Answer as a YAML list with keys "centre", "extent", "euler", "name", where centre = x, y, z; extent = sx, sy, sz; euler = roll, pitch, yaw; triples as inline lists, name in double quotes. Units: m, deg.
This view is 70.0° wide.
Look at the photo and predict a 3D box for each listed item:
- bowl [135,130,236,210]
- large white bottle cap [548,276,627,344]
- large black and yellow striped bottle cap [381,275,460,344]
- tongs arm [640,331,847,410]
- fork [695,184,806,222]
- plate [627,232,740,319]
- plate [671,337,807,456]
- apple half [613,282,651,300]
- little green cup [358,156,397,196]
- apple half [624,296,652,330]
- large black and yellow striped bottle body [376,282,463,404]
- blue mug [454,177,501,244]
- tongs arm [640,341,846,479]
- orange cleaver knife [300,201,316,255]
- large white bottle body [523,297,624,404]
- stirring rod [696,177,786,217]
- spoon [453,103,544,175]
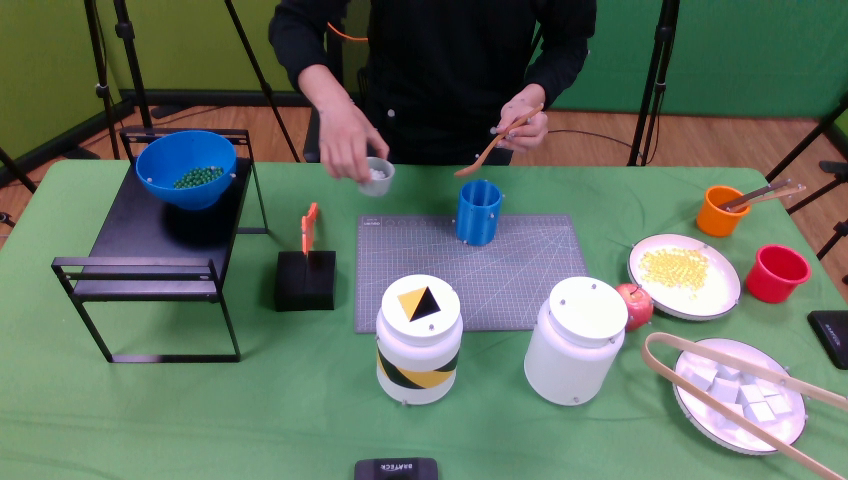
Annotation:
- centre: [-0.375, -0.102, 0.977]
  extent: [0.151, 0.077, 0.150]
  euler: [2, 46, -2]
  name: "bowl"
- centre: [0.240, 0.100, 0.890]
  extent: [0.115, 0.018, 0.114]
  euler: [3, 47, -3]
  name: "large white bottle cap"
- centre: [-0.005, 0.098, 0.875]
  extent: [0.115, 0.019, 0.114]
  euler: [2, 45, -2]
  name: "large black and yellow striped bottle cap"
- centre: [0.543, 0.226, 0.969]
  extent: [0.384, 0.026, 0.050]
  euler: [22, 53, 13]
  name: "tongs arm"
- centre: [0.658, -0.074, 1.230]
  extent: [0.207, 0.019, 0.028]
  euler: [-24, 34, 36]
  name: "fork"
- centre: [0.489, 0.070, 1.157]
  extent: [0.209, 0.038, 0.208]
  euler: [3, 46, -3]
  name: "plate"
- centre: [0.504, 0.254, 0.984]
  extent: [0.208, 0.039, 0.206]
  euler: [2, 46, -2]
  name: "plate"
- centre: [0.356, 0.109, 1.086]
  extent: [0.081, 0.075, 0.053]
  euler: [-13, 44, -12]
  name: "apple half"
- centre: [-0.078, -0.102, 0.979]
  extent: [0.061, 0.039, 0.061]
  euler: [10, 44, -10]
  name: "little green cup"
- centre: [0.368, 0.135, 1.060]
  extent: [0.081, 0.081, 0.032]
  euler: [-11, 43, -15]
  name: "apple half"
- centre: [-0.010, 0.155, 0.937]
  extent: [0.131, 0.185, 0.130]
  euler: [2, 47, -2]
  name: "large black and yellow striped bottle body"
- centre: [0.106, -0.067, 1.208]
  extent: [0.082, 0.106, 0.116]
  euler: [6, 46, 1]
  name: "blue mug"
- centre: [0.500, 0.278, 0.920]
  extent: [0.386, 0.028, 0.028]
  euler: [34, 60, 22]
  name: "tongs arm"
- centre: [-0.221, -0.027, 1.160]
  extent: [0.012, 0.077, 0.210]
  euler: [-1, 15, -4]
  name: "orange cleaver knife"
- centre: [0.235, 0.159, 0.952]
  extent: [0.131, 0.185, 0.130]
  euler: [2, 47, -2]
  name: "large white bottle body"
- centre: [0.648, -0.087, 1.244]
  extent: [0.176, 0.006, 0.014]
  euler: [-25, 50, 29]
  name: "stirring rod"
- centre: [0.121, -0.165, 1.006]
  extent: [0.021, 0.194, 0.041]
  euler: [49, 31, 0]
  name: "spoon"
